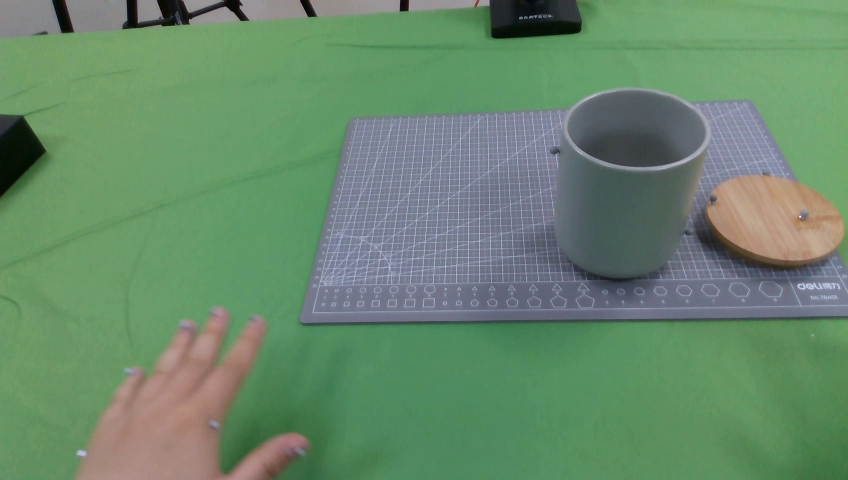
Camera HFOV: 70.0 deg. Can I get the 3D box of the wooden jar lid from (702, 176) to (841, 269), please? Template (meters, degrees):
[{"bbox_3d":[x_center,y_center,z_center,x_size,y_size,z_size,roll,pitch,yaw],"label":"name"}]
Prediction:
[{"bbox_3d":[0.297,-0.014,0.525,0.108,0.021,0.107,-4,44,4],"label":"wooden jar lid"}]

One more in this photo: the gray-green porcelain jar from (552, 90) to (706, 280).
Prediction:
[{"bbox_3d":[0.158,-0.039,0.490,0.106,0.128,0.105,-4,46,4],"label":"gray-green porcelain jar"}]
